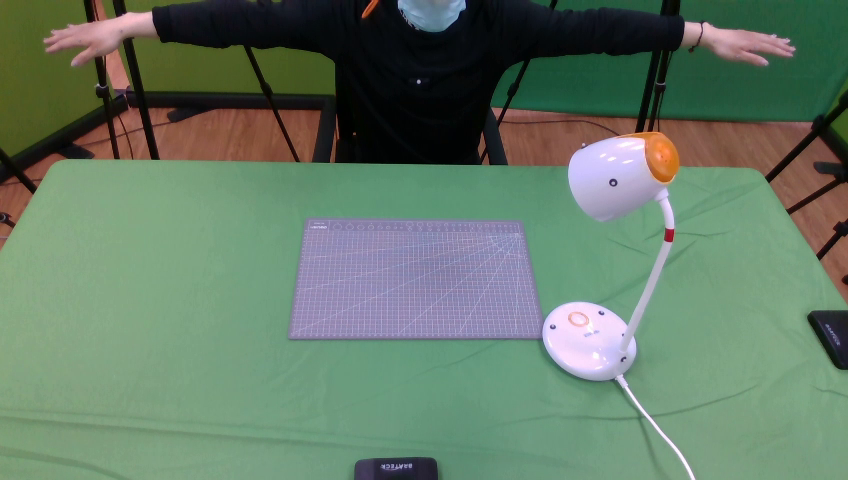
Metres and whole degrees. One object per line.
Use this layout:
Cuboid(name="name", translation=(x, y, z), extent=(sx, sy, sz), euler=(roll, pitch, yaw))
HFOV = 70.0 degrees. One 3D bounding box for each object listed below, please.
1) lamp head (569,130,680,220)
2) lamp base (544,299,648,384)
Cuboid(name="lamp head", translation=(0.272, -0.090, 0.798), extent=(0.113, 0.122, 0.112), euler=(7, 78, -33))
Cuboid(name="lamp base", translation=(0.299, 0.124, 0.984), extent=(0.161, 0.181, 0.178), euler=(-23, 55, -23))
